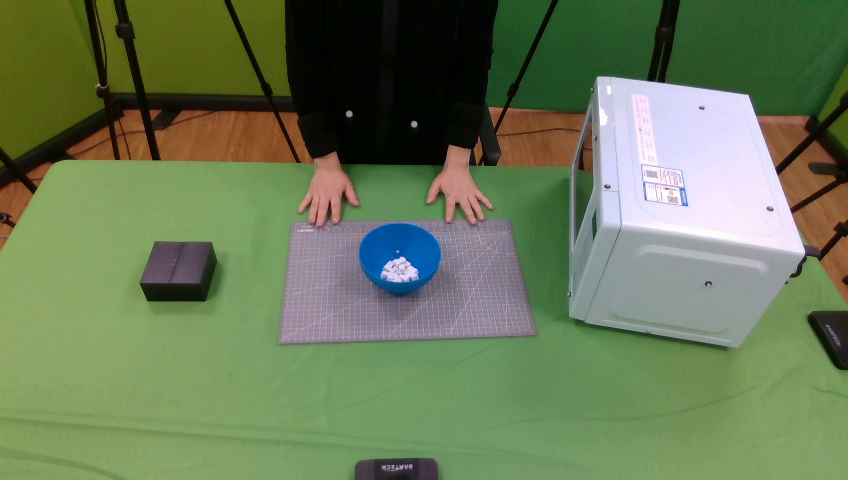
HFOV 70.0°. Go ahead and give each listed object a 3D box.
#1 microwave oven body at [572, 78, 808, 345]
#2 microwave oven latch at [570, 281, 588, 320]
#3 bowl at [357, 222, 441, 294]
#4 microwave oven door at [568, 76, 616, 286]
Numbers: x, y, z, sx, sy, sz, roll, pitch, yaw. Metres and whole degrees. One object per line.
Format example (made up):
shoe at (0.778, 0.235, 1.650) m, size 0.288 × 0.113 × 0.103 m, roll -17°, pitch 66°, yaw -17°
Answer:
microwave oven body at (0.456, -0.063, 1.124) m, size 0.326 × 0.261 × 0.439 m, roll 8°, pitch 45°, yaw 5°
microwave oven latch at (0.275, 0.105, 1.082) m, size 0.030 × 0.029 × 0.079 m, roll 10°, pitch 45°, yaw 6°
bowl at (-0.047, 0.046, 1.107) m, size 0.151 × 0.077 × 0.150 m, roll 2°, pitch 46°, yaw -2°
microwave oven door at (0.319, -0.119, 1.161) m, size 0.039 × 0.245 × 0.354 m, roll 9°, pitch 46°, yaw 5°
